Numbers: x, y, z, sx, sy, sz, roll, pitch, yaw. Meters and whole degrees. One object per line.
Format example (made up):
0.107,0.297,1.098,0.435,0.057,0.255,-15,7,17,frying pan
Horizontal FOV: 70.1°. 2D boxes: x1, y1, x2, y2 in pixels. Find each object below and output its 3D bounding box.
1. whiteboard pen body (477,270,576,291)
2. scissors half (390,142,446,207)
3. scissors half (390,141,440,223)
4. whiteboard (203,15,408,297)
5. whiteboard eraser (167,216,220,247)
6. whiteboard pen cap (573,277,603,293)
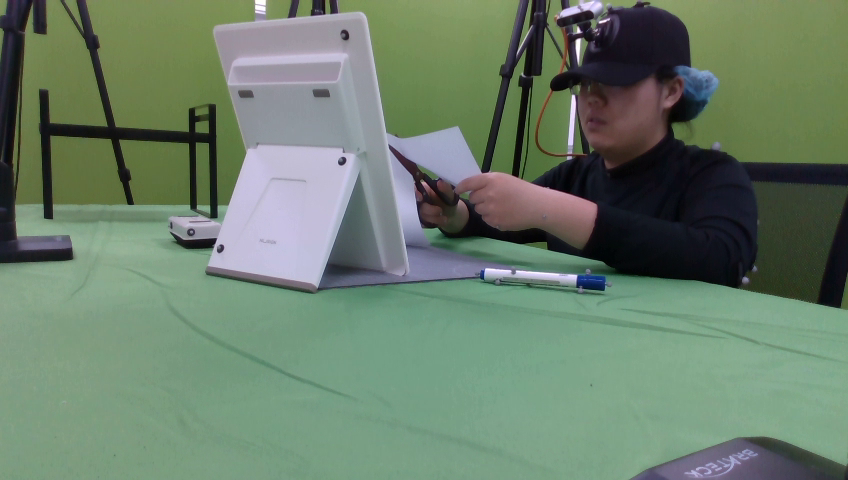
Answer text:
0.131,0.048,0.706,0.140,0.017,0.017,4,8,17,whiteboard pen body
-0.008,-0.108,0.989,0.012,0.040,0.176,2,-25,35,scissors half
-0.015,-0.091,0.979,0.013,0.176,0.040,-3,43,32,scissors half
-0.166,-0.072,0.668,0.216,0.305,0.144,8,30,30,whiteboard
-0.350,-0.013,0.920,0.056,0.042,0.112,0,7,-35,whiteboard eraser
0.186,0.051,0.687,0.033,0.018,0.018,4,8,17,whiteboard pen cap
